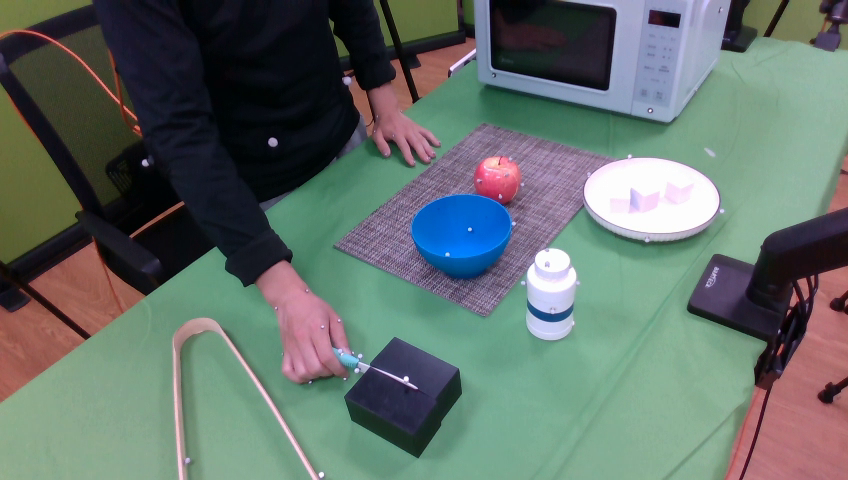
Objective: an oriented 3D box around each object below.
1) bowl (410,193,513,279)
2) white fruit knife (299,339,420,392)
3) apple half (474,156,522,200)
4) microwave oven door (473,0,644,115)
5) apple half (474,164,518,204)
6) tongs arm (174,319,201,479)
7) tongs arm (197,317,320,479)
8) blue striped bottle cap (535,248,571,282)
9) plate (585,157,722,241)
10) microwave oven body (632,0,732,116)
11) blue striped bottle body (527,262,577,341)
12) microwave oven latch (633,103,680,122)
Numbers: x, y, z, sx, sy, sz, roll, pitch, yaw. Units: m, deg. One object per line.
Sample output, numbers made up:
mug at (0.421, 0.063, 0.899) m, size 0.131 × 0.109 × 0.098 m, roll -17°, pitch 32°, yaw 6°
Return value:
bowl at (0.058, 0.005, 0.905) m, size 0.151 × 0.077 × 0.150 m, roll -4°, pitch 40°, yaw 4°
white fruit knife at (-0.086, 0.157, 0.761) m, size 0.206 × 0.027 × 0.016 m, roll 11°, pitch 47°, yaw 35°
apple half at (0.130, -0.108, 1.032) m, size 0.080 × 0.075 × 0.053 m, roll 8°, pitch 40°, yaw 22°
microwave oven door at (0.257, -0.396, 1.199) m, size 0.353 × 0.245 × 0.039 m, roll 21°, pitch 48°, yaw 29°
apple half at (0.115, -0.084, 1.005) m, size 0.081 × 0.081 × 0.033 m, roll 10°, pitch 41°, yaw 20°
tongs arm at (-0.272, 0.234, 0.723) m, size 0.051 × 0.026 × 0.381 m, roll -19°, pitch 40°, yaw -15°
tongs arm at (-0.199, 0.207, 0.750) m, size 0.028 × 0.028 × 0.384 m, roll -31°, pitch 45°, yaw -22°
blue striped bottle cap at (0.161, 0.031, 0.753) m, size 0.044 × 0.021 × 0.044 m, roll -4°, pitch 42°, yaw 4°
plate at (0.367, -0.063, 0.979) m, size 0.207 × 0.039 × 0.206 m, roll -4°, pitch 40°, yaw 4°
microwave oven body at (0.377, -0.463, 1.267) m, size 0.438 × 0.261 × 0.327 m, roll 21°, pitch 49°, yaw 30°
blue striped bottle body at (0.165, 0.070, 0.786) m, size 0.063 × 0.121 × 0.063 m, roll -4°, pitch 41°, yaw 4°
microwave oven latch at (0.443, -0.249, 1.158) m, size 0.078 × 0.029 × 0.030 m, roll 21°, pitch 49°, yaw 30°
